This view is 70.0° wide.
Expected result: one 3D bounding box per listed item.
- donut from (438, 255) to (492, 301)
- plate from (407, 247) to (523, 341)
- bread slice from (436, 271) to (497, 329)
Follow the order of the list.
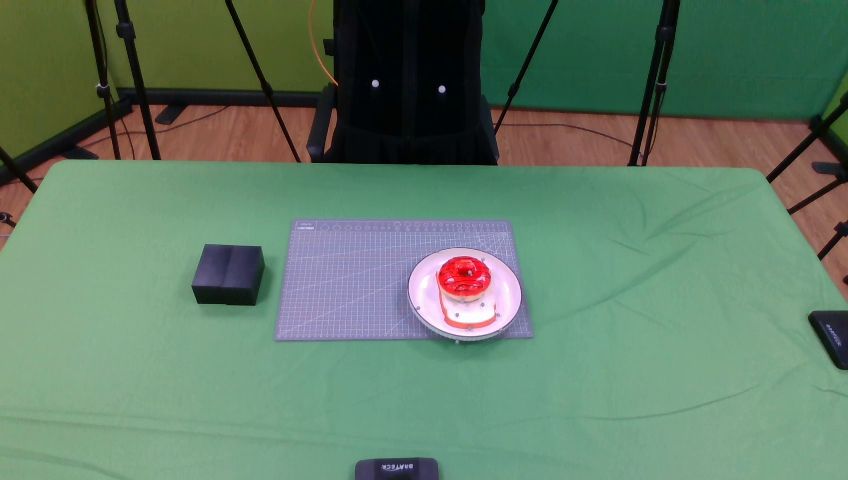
[{"bbox_3d":[0.073,0.066,1.086,0.099,0.048,0.098,0,44,1],"label":"donut"},{"bbox_3d":[0.073,0.098,1.093,0.209,0.038,0.208,2,46,-2],"label":"plate"},{"bbox_3d":[0.081,0.103,1.091,0.105,0.019,0.130,-3,46,-5],"label":"bread slice"}]
